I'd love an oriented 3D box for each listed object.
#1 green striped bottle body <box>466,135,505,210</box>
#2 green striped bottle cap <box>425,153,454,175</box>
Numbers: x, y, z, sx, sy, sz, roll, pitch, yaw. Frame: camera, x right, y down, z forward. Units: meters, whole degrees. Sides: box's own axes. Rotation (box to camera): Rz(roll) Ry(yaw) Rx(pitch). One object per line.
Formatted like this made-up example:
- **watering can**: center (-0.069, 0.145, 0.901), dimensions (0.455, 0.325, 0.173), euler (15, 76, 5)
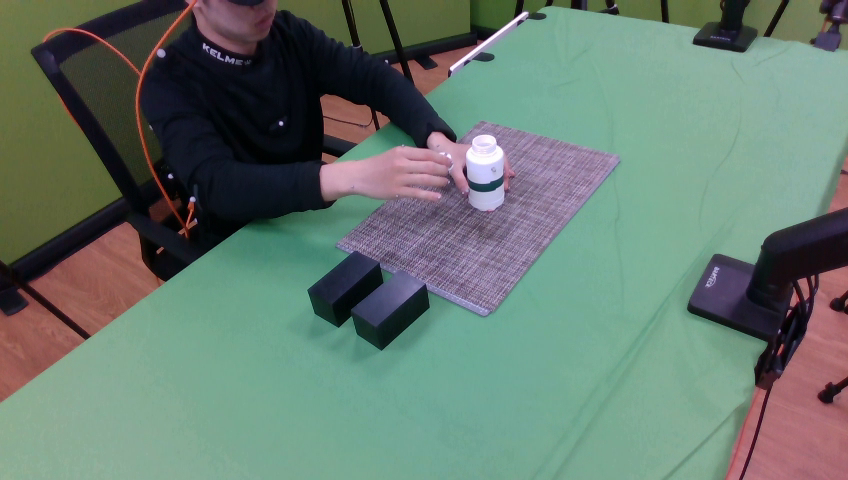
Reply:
- **green striped bottle body**: center (0.103, -0.114, 1.006), dimensions (0.063, 0.120, 0.063), euler (-4, 41, 4)
- **green striped bottle cap**: center (0.024, -0.119, 0.941), dimensions (0.044, 0.020, 0.044), euler (-11, 30, 7)
